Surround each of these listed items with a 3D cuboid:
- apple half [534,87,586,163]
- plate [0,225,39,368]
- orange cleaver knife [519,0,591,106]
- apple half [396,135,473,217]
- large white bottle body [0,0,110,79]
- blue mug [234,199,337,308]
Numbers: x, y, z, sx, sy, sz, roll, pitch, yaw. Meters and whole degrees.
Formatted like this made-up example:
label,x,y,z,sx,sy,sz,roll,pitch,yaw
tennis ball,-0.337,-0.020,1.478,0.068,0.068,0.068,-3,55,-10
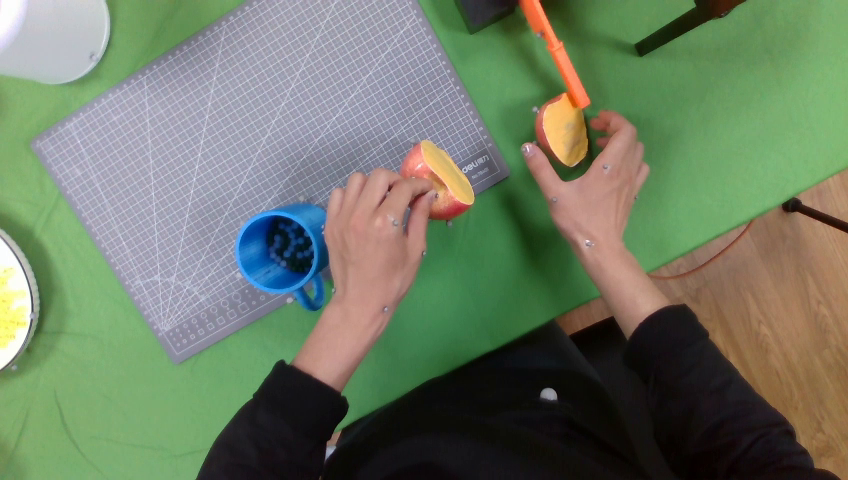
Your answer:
label,x,y,z,sx,sy,sz,roll,pitch,yaw
apple half,0.139,-0.117,0.639,0.032,0.081,0.081,-3,102,45
plate,-0.539,0.056,0.692,0.209,0.038,0.209,0,100,2
orange cleaver knife,0.110,-0.226,0.598,0.012,0.076,0.213,-33,121,6
apple half,0.004,-0.057,0.593,0.053,0.074,0.081,-37,104,25
large white bottle body,-0.404,-0.228,0.567,0.130,0.184,0.131,0,98,2
blue mug,-0.135,0.016,0.637,0.082,0.105,0.117,-21,98,5
